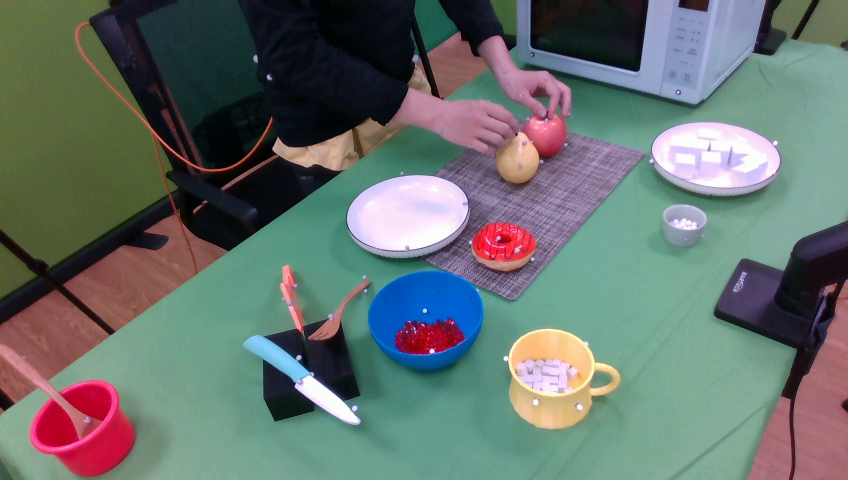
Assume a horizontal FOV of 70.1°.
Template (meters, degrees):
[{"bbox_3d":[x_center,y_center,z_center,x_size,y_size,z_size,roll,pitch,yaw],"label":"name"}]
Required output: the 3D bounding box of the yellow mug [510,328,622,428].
[{"bbox_3d":[0.168,0.164,0.722,0.130,0.064,0.099,0,40,8],"label":"yellow mug"}]

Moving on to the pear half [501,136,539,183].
[{"bbox_3d":[0.172,-0.134,1.048,0.071,0.088,0.031,-16,41,-16],"label":"pear half"}]

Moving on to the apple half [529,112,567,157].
[{"bbox_3d":[0.235,-0.191,1.117,0.053,0.075,0.081,24,40,30],"label":"apple half"}]

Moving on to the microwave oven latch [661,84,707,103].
[{"bbox_3d":[0.517,-0.296,1.204,0.078,0.029,0.030,27,52,35],"label":"microwave oven latch"}]

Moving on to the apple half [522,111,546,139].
[{"bbox_3d":[0.203,-0.205,1.137,0.032,0.081,0.081,25,50,27],"label":"apple half"}]

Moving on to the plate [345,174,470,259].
[{"bbox_3d":[-0.026,-0.037,1.004,0.209,0.038,0.208,-4,40,4],"label":"plate"}]

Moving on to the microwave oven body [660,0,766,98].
[{"bbox_3d":[0.472,-0.513,1.317,0.438,0.261,0.327,26,51,34],"label":"microwave oven body"}]

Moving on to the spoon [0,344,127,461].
[{"bbox_3d":[-0.433,0.191,0.721,0.194,0.021,0.042,47,53,-6],"label":"spoon"}]

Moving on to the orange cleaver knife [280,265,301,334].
[{"bbox_3d":[-0.188,0.081,0.862,0.012,0.077,0.210,-20,12,-9],"label":"orange cleaver knife"}]

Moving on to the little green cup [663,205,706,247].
[{"bbox_3d":[0.396,-0.021,0.926,0.061,0.039,0.061,-4,40,4],"label":"little green cup"}]

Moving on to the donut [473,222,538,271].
[{"bbox_3d":[0.123,0.008,0.923,0.099,0.048,0.098,-3,38,3],"label":"donut"}]

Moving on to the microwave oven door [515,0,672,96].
[{"bbox_3d":[0.343,-0.455,1.259,0.353,0.245,0.039,26,51,33],"label":"microwave oven door"}]

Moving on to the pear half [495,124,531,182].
[{"bbox_3d":[0.159,-0.162,1.067,0.076,0.110,0.055,-16,41,-15],"label":"pear half"}]

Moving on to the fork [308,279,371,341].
[{"bbox_3d":[-0.109,0.093,0.832,0.028,0.018,0.207,-4,19,15],"label":"fork"}]

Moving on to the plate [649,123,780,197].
[{"bbox_3d":[0.497,-0.135,1.046,0.207,0.039,0.206,-4,40,4],"label":"plate"}]

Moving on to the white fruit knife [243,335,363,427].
[{"bbox_3d":[-0.148,0.167,0.729,0.206,0.016,0.027,27,80,31],"label":"white fruit knife"}]

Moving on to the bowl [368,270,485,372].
[{"bbox_3d":[0.007,0.118,0.791,0.151,0.077,0.150,-5,40,4],"label":"bowl"}]
